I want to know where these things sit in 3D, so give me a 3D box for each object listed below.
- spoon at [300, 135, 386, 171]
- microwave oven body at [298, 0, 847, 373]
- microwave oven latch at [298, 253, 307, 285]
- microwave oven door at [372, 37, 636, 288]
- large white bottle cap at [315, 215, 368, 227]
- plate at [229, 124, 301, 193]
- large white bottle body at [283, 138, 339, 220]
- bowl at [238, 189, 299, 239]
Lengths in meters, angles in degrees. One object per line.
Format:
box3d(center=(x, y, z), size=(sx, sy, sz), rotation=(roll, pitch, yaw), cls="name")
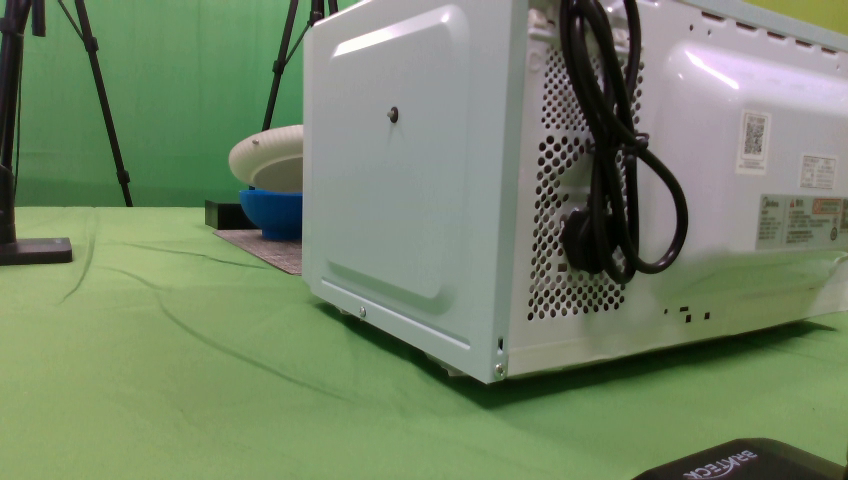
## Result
box3d(center=(-0.129, -0.150, 1.016), size=(0.041, 0.021, 0.194), rotation=(31, 43, 28), cls="spoon")
box3d(center=(0.151, -0.055, 0.543), size=(0.444, 0.260, 0.324), rotation=(-2, 7, -33), cls="microwave oven body")
box3d(center=(-0.081, 0.027, 0.582), size=(0.079, 0.029, 0.030), rotation=(-1, 7, -32), cls="microwave oven latch")
box3d(center=(0.110, -0.080, 0.686), size=(0.358, 0.243, 0.039), rotation=(-2, 9, -33), cls="microwave oven door")
box3d(center=(-0.178, -0.041, 1.309), size=(0.115, 0.018, 0.115), rotation=(2, 6, 0), cls="large white bottle cap")
box3d(center=(-0.189, -0.116, 0.926), size=(0.209, 0.038, 0.209), rotation=(-12, -13, -2), cls="plate")
box3d(center=(-0.265, -0.144, 1.423), size=(0.131, 0.184, 0.130), rotation=(2, 7, 0), cls="large white bottle body")
box3d(center=(-0.245, -0.046, 1.053), size=(0.151, 0.077, 0.151), rotation=(3, 8, 0), cls="bowl")
